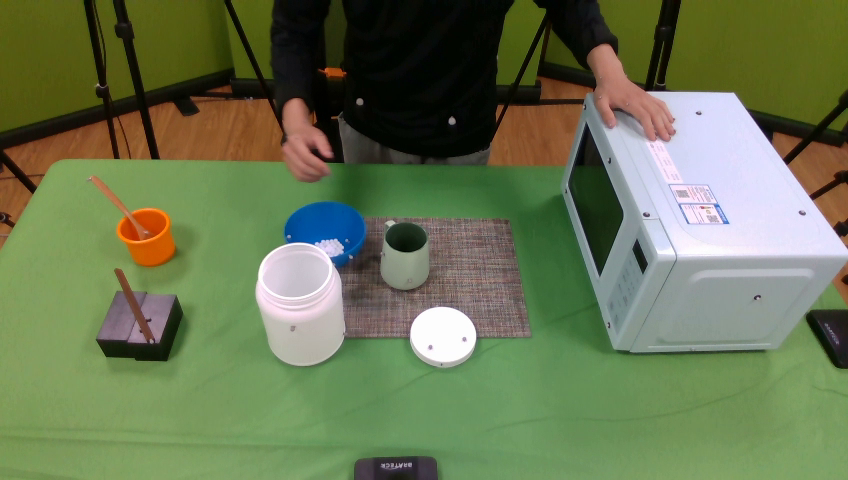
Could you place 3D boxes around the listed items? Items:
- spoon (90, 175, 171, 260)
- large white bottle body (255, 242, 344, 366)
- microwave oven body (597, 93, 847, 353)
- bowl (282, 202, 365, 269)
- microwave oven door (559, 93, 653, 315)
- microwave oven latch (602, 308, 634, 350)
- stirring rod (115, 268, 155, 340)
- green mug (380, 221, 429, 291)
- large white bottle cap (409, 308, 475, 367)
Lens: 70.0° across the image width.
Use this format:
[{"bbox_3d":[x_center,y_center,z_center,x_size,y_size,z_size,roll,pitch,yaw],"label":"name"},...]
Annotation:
[{"bbox_3d":[-0.539,-0.042,1.111,0.021,0.194,0.041,-14,26,52],"label":"spoon"},{"bbox_3d":[-0.196,0.102,0.967,0.131,0.185,0.130,2,49,-2],"label":"large white bottle body"},{"bbox_3d":[0.475,-0.041,1.109,0.326,0.261,0.438,-1,45,-4],"label":"microwave oven body"},{"bbox_3d":[-0.185,0.006,1.137,0.151,0.077,0.150,3,46,-3],"label":"bowl"},{"bbox_3d":[0.327,-0.074,1.123,0.039,0.245,0.353,-1,46,-5],"label":"microwave oven door"},{"bbox_3d":[0.332,0.153,1.044,0.030,0.029,0.078,-1,45,-4],"label":"microwave oven latch"},{"bbox_3d":[-0.479,0.103,0.999,0.014,0.006,0.175,7,32,-49],"label":"stirring rod"},{"bbox_3d":[-0.043,0.020,1.116,0.092,0.105,0.124,-20,50,-21],"label":"green mug"},{"bbox_3d":[0.031,0.166,1.041,0.115,0.018,0.114,2,47,-2],"label":"large white bottle cap"}]
